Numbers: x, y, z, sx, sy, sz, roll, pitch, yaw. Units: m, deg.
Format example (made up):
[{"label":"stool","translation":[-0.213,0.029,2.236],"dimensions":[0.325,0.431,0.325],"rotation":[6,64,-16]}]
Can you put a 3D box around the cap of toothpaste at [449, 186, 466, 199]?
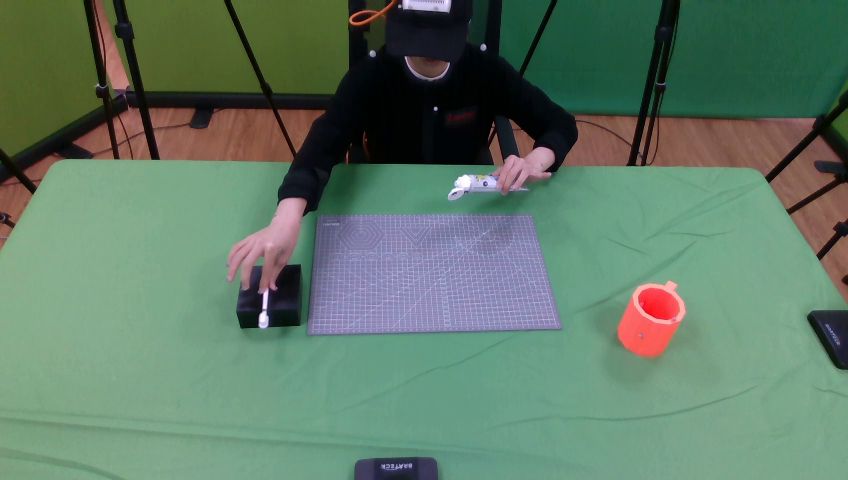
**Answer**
[{"label":"cap of toothpaste","translation":[0.063,-0.091,1.150],"dimensions":[0.037,0.037,0.011],"rotation":[-18,69,-20]}]

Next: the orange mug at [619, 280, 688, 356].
[{"label":"orange mug","translation":[0.401,0.125,1.045],"dimensions":[0.083,0.101,0.126],"rotation":[30,56,24]}]

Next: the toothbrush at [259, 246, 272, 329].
[{"label":"toothbrush","translation":[-0.271,0.075,1.040],"dimensions":[0.014,0.017,0.180],"rotation":[-7,46,-3]}]

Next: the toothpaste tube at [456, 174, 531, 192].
[{"label":"toothpaste tube","translation":[0.135,-0.113,1.202],"dimensions":[0.165,0.034,0.054],"rotation":[-5,40,-30]}]
